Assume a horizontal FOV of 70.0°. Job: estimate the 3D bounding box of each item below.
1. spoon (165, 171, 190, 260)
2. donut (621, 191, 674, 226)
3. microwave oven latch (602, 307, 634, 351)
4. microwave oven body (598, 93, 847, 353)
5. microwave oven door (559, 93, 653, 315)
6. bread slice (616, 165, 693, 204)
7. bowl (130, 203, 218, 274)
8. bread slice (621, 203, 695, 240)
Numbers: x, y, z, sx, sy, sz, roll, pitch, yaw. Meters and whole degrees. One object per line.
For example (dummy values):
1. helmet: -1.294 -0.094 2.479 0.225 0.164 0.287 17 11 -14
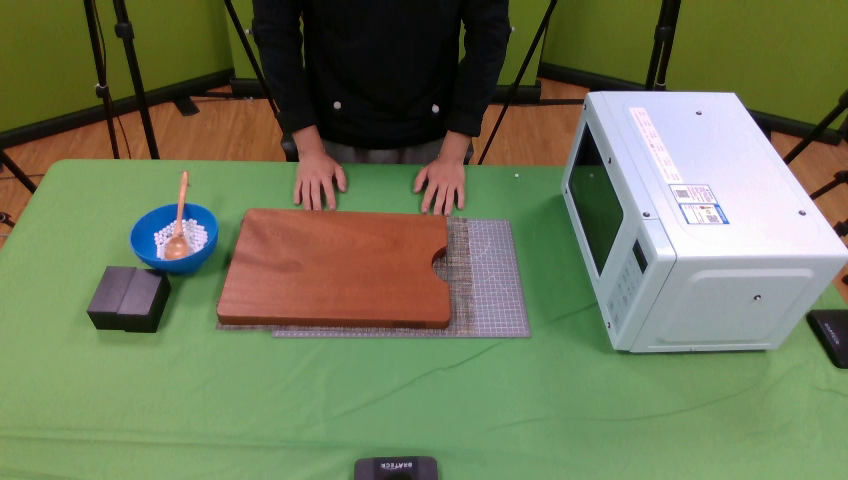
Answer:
1. spoon: -0.452 -0.046 1.129 0.041 0.022 0.193 -1 69 -2
2. donut: 0.433 -0.061 1.175 0.099 0.048 0.098 -7 26 4
3. microwave oven latch: 0.332 0.153 1.044 0.030 0.029 0.078 0 45 -4
4. microwave oven body: 0.475 -0.041 1.110 0.326 0.261 0.438 -1 45 -4
5. microwave oven door: 0.327 -0.074 1.123 0.039 0.245 0.353 -1 46 -5
6. bread slice: 0.441 -0.105 1.151 0.135 0.018 0.106 -1 41 -25
7. bowl: -0.450 0.010 1.117 0.151 0.077 0.150 3 45 -3
8. bread slice: 0.465 -0.039 1.202 0.131 0.019 0.104 -4 36 8
